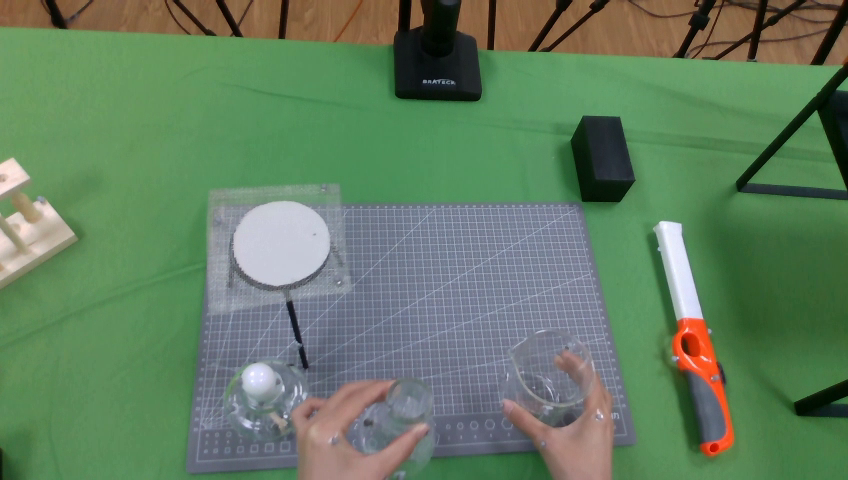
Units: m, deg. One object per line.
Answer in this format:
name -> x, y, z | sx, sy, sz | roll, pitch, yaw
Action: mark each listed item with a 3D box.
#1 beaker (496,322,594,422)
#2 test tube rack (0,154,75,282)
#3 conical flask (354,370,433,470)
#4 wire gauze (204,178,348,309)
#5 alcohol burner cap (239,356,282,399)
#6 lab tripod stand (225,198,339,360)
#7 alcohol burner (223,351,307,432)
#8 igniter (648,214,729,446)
beaker -> 0.111, 0.133, 0.595 | 0.084, 0.101, 0.073 | 19, 59, 5
test tube rack -> -0.490, 0.024, 0.597 | 0.066, 0.086, 0.242 | 43, 65, 16
conical flask -> -0.021, 0.150, 0.525 | 0.075, 0.122, 0.074 | 5, 58, -7
wire gauze -> -0.135, -0.003, 0.549 | 0.122, 0.011, 0.124 | -6, 64, -11
alcohol burner cap -> -0.144, 0.119, 0.529 | 0.034, 0.048, 0.033 | 1, 66, -3
lab tripod stand -> -0.139, 0.033, 0.606 | 0.149, 0.132, 0.147 | 4, 62, -7
alcohol burner -> -0.148, 0.135, 0.561 | 0.078, 0.120, 0.077 | 4, 60, -7
igniter -> 0.299, 0.093, 0.692 | 0.057, 0.025, 0.274 | 7, 61, -15
